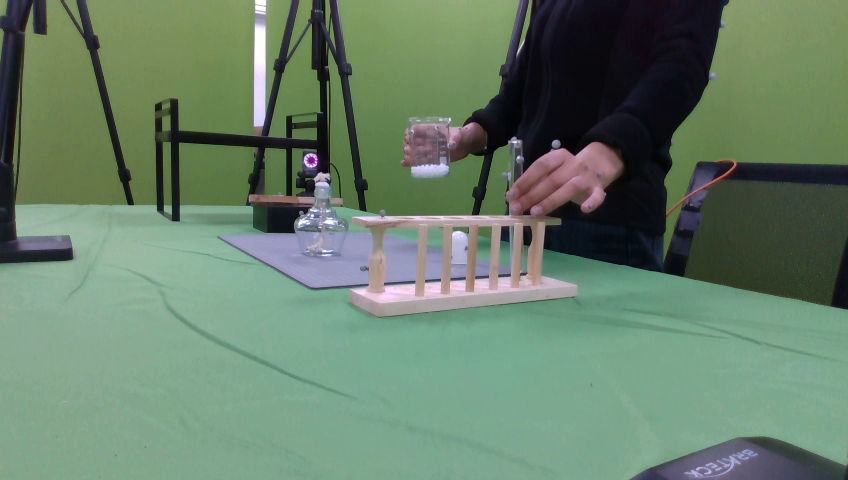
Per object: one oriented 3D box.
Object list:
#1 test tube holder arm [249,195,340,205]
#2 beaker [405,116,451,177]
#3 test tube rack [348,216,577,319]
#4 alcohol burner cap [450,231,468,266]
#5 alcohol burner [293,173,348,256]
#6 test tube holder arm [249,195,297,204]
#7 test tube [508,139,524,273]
[{"bbox_3d":[-0.247,-0.077,1.168,0.179,0.015,0.013,0,9,-31],"label":"test tube holder arm"},{"bbox_3d":[0.011,-0.157,1.023,0.083,0.100,0.074,4,11,34],"label":"beaker"},{"bbox_3d":[0.048,0.021,0.619,0.244,0.085,0.066,-1,9,-31],"label":"test tube rack"},{"bbox_3d":[0.046,0.011,0.838,0.034,0.048,0.034,2,6,0],"label":"alcohol burner cap"},{"bbox_3d":[-0.146,-0.036,0.859,0.078,0.119,0.078,4,8,0],"label":"alcohol burner"},{"bbox_3d":[-0.284,-0.076,1.141,0.088,0.015,0.010,0,9,-29],"label":"test tube holder arm"},{"bbox_3d":[0.100,-0.035,0.663,0.017,0.150,0.017,-3,12,1],"label":"test tube"}]
